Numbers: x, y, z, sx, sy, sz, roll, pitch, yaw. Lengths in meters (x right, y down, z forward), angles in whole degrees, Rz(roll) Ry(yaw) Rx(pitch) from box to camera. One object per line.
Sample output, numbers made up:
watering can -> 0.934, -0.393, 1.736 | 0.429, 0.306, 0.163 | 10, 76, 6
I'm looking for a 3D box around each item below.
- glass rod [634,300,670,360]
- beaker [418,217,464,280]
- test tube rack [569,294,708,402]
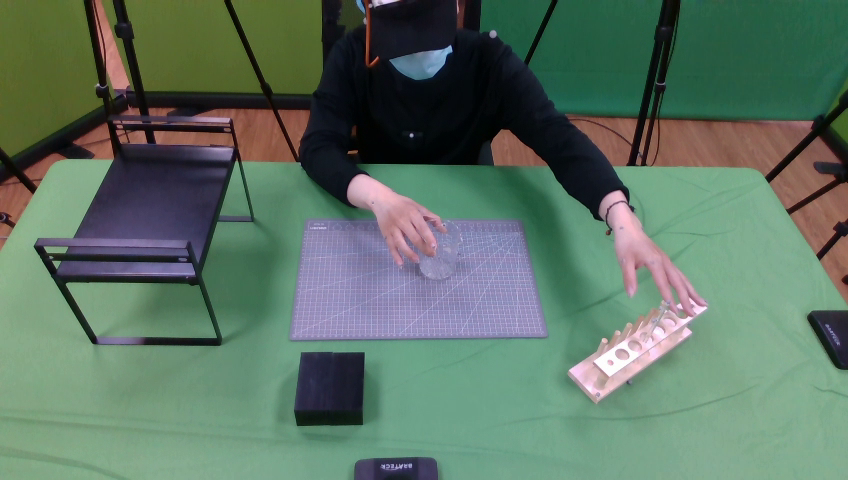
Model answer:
glass rod -> 0.351, 0.144, 0.945 | 0.008, 0.201, 0.008 | -1, 55, 2
beaker -> 0.030, 0.019, 1.120 | 0.084, 0.101, 0.073 | 18, 48, 12
test tube rack -> 0.360, 0.167, 1.015 | 0.242, 0.085, 0.066 | -25, 52, -25
